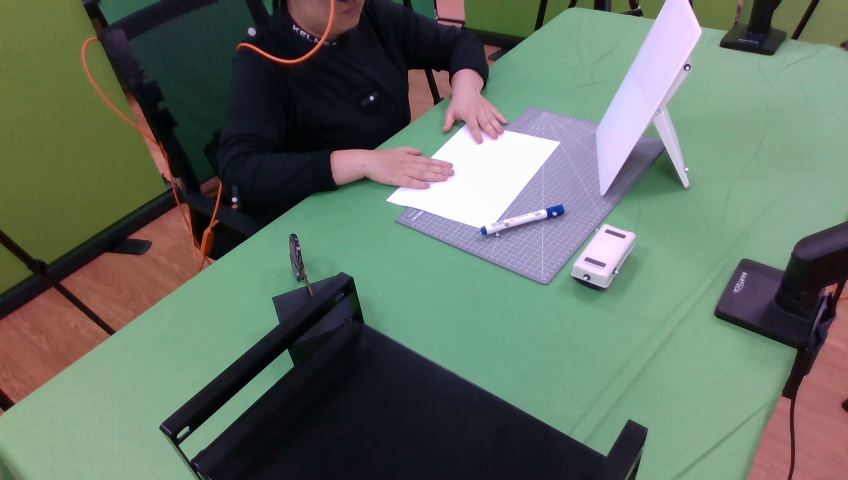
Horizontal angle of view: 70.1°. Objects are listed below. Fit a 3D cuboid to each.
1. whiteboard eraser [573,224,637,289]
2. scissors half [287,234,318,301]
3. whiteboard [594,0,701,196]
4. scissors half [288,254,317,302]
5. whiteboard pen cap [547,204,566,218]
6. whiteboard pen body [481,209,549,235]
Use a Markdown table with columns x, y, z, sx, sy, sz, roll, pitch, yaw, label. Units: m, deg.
| x | y | z | sx | sy | sz | roll | pitch | yaw | label |
| --- | --- | --- | --- | --- | --- | --- | --- | --- | --- |
| 0.267 | 0.025 | 0.890 | 0.055 | 0.042 | 0.113 | 19 | 47 | 31 | whiteboard eraser |
| -0.178 | 0.040 | 0.885 | 0.013 | 0.040 | 0.173 | -12 | 36 | -20 | scissors half |
| 0.420 | -0.227 | 1.010 | 0.144 | 0.305 | 0.216 | 18 | 42 | -2 | whiteboard |
| -0.178 | 0.058 | 0.894 | 0.013 | 0.040 | 0.174 | -16 | 21 | -17 | scissors half |
| 0.216 | -0.046 | 0.997 | 0.033 | 0.018 | 0.018 | -18 | 41 | -10 | whiteboard pen cap |
| 0.160 | -0.032 | 0.985 | 0.141 | 0.017 | 0.017 | -16 | 41 | -12 | whiteboard pen body |
